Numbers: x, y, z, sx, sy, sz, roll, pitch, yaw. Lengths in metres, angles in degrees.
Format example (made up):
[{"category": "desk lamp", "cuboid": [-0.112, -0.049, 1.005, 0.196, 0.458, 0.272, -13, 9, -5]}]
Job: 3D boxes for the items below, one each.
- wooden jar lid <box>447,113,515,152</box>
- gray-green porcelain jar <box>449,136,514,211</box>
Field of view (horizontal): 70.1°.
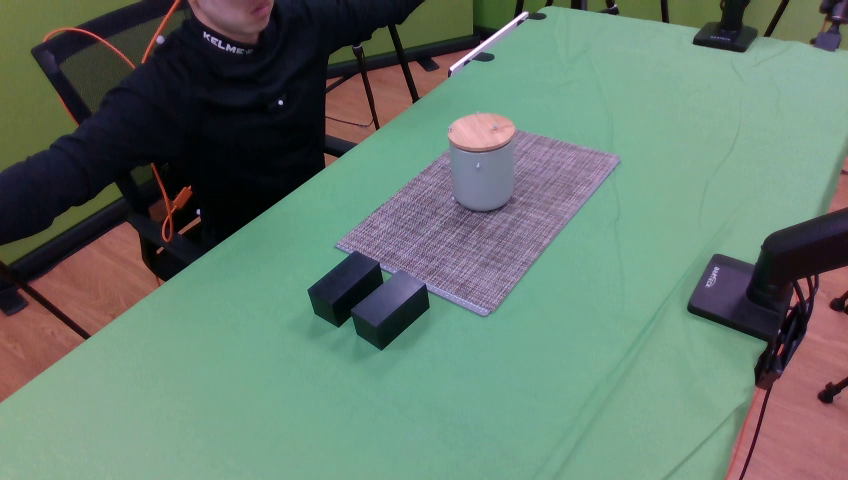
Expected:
[{"category": "wooden jar lid", "cuboid": [0.091, -0.169, 0.967, 0.108, 0.021, 0.108, -5, 39, 4]}, {"category": "gray-green porcelain jar", "cuboid": [0.098, -0.120, 1.008, 0.106, 0.127, 0.105, -4, 41, 4]}]
